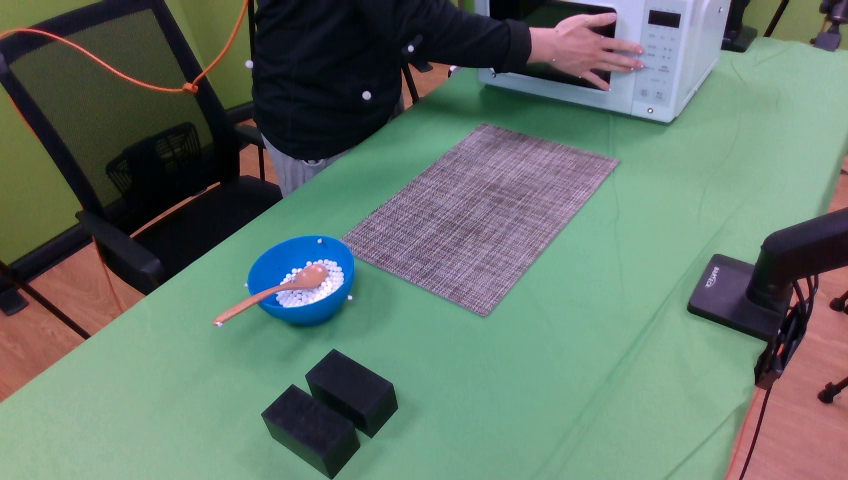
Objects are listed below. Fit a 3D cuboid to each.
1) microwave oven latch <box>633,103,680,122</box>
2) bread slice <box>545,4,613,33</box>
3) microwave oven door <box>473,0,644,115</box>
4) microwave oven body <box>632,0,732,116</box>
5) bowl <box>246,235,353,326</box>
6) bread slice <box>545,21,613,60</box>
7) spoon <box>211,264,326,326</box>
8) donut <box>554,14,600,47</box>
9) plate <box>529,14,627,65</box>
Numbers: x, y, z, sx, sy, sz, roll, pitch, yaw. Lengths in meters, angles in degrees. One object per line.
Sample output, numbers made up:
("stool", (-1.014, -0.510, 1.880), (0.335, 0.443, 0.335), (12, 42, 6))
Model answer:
("microwave oven latch", (0.443, -0.249, 1.158), (0.078, 0.029, 0.030), (21, 49, 30))
("bread slice", (0.330, -0.473, 1.280), (0.131, 0.019, 0.104), (-11, 38, 0))
("microwave oven door", (0.257, -0.396, 1.199), (0.353, 0.245, 0.039), (21, 48, 29))
("microwave oven body", (0.377, -0.463, 1.267), (0.438, 0.261, 0.327), (21, 49, 30))
("bowl", (-0.170, 0.070, 0.868), (0.151, 0.077, 0.150), (-4, 41, 4))
("bread slice", (0.340, -0.438, 1.316), (0.134, 0.018, 0.106), (-15, 49, -2))
("spoon", (-0.208, 0.072, 0.822), (0.041, 0.021, 0.195), (27, 29, 27))
("donut", (0.328, -0.452, 1.296), (0.099, 0.048, 0.098), (-5, 46, 5))
("plate", (0.332, -0.433, 1.318), (0.207, 0.039, 0.206), (-4, 42, 5))
